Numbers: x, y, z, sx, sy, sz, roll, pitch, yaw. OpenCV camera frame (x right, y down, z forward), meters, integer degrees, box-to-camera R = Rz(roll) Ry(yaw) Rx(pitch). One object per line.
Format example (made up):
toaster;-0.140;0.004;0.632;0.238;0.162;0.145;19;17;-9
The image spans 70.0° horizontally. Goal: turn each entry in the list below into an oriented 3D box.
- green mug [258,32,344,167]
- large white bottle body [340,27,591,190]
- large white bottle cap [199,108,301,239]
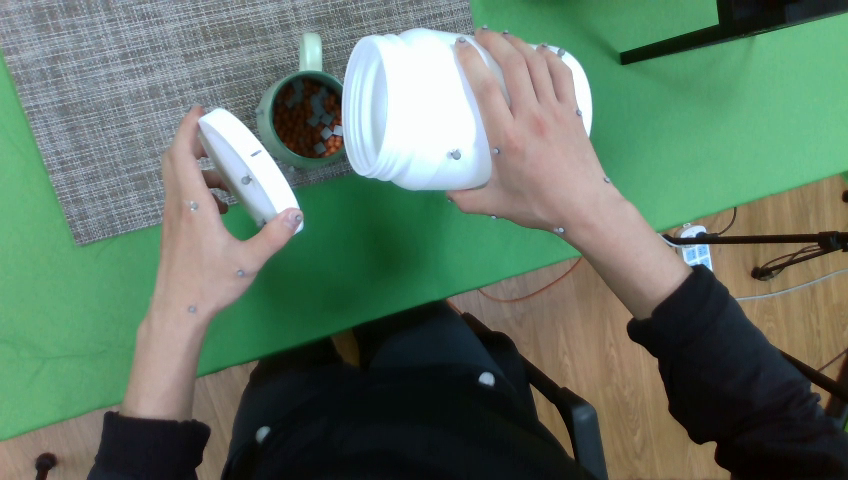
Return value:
green mug;-0.110;-0.133;0.578;0.093;0.104;0.125;0;97;-17
large white bottle body;0.032;-0.108;0.518;0.185;0.129;0.131;-2;98;-26
large white bottle cap;-0.140;-0.051;0.489;0.018;0.114;0.115;-38;107;-22
